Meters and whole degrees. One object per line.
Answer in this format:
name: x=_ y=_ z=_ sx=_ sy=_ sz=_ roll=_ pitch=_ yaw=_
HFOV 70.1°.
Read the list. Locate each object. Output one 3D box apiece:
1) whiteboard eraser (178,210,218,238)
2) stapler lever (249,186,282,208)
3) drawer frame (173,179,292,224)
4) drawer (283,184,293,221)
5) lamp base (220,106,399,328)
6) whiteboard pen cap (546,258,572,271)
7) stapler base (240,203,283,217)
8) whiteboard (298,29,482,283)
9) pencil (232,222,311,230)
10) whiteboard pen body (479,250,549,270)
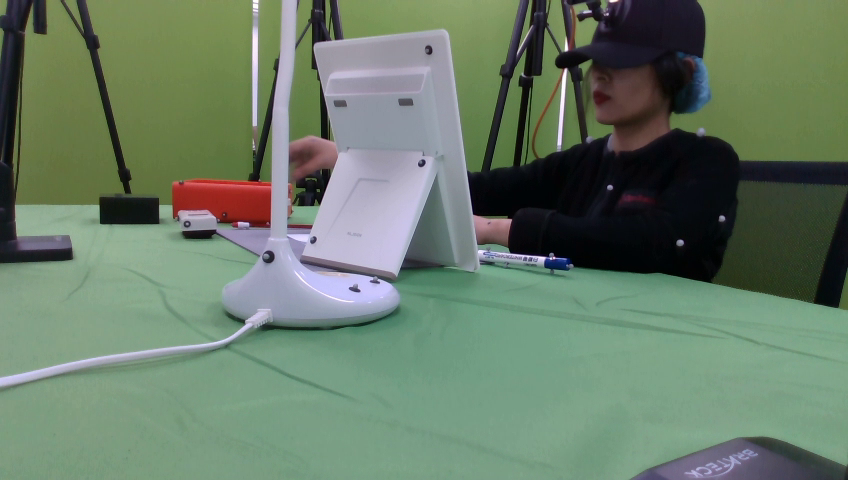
whiteboard eraser: x=-0.380 y=-0.027 z=1.014 sx=0.056 sy=0.042 sz=0.112 roll=0 pitch=8 yaw=-25
stapler lever: x=-0.341 y=-0.092 z=1.309 sx=0.027 sy=0.040 sz=0.118 roll=19 pitch=3 yaw=12
drawer frame: x=-0.400 y=-0.086 z=1.299 sx=0.214 sy=0.082 sz=0.201 roll=1 pitch=8 yaw=-8
drawer: x=-0.396 y=-0.084 z=1.301 sx=0.212 sy=0.073 sz=0.194 roll=1 pitch=8 yaw=-7
lamp base: x=-0.101 y=-0.023 z=0.531 sx=0.160 sy=0.180 sz=0.179 roll=4 pitch=10 yaw=10
whiteboard pen cap: x=0.175 y=0.032 z=0.790 sx=0.033 sy=0.018 sz=0.018 roll=3 pitch=6 yaw=37
stapler base: x=-0.348 y=-0.066 z=1.309 sx=0.041 sy=0.024 sz=0.131 roll=19 pitch=5 yaw=12
whiteboard: x=-0.075 y=-0.082 z=0.741 sx=0.216 sy=0.305 sz=0.144 roll=9 pitch=29 yaw=37
pencil: x=-0.261 y=-0.025 z=1.141 sx=0.195 sy=0.012 sz=0.012 roll=2 pitch=7 yaw=-26
whiteboard pen body: x=0.130 y=0.028 z=0.827 sx=0.140 sy=0.017 sz=0.017 roll=6 pitch=8 yaw=38
